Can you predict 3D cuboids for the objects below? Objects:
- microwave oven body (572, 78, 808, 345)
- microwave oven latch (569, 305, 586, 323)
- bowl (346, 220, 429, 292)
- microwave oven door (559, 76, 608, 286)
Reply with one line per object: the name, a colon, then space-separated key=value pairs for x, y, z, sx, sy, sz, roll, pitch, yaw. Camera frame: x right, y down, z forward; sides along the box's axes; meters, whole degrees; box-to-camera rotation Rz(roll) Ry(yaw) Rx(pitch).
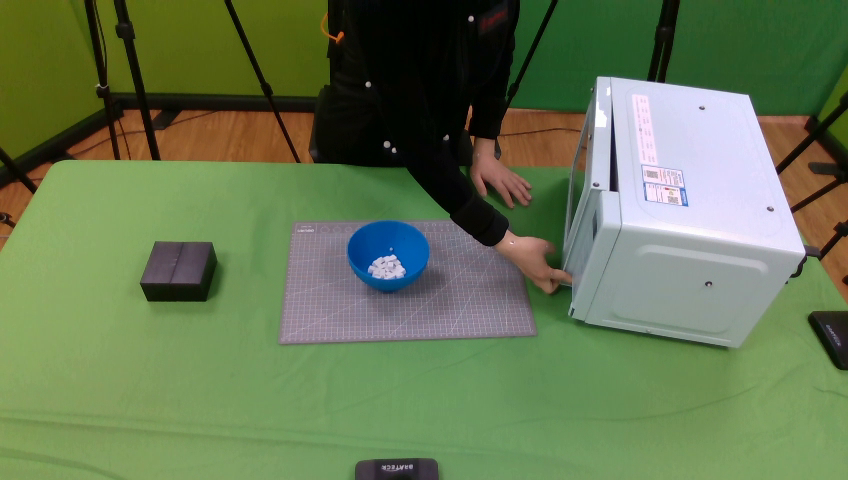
microwave oven body: x=0.456 y=-0.063 z=1.124 sx=0.326 sy=0.261 sz=0.439 roll=8 pitch=45 yaw=5
microwave oven latch: x=0.282 y=0.109 z=1.078 sx=0.030 sy=0.029 sz=0.079 roll=21 pitch=48 yaw=17
bowl: x=-0.067 y=0.042 z=1.111 sx=0.151 sy=0.077 sz=0.150 roll=3 pitch=46 yaw=-3
microwave oven door: x=0.311 y=-0.120 z=1.161 sx=0.039 sy=0.245 sz=0.354 roll=11 pitch=46 yaw=7
